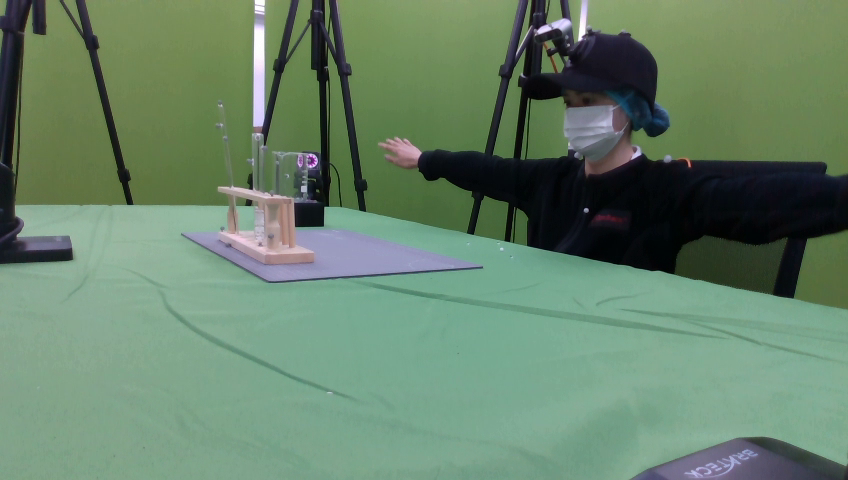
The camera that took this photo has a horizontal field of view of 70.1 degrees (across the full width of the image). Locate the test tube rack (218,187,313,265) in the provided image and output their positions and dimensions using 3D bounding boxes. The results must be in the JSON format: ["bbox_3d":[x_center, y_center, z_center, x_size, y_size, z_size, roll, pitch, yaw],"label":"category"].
[{"bbox_3d":[-0.235,-0.027,0.872,0.067,0.085,0.241,-2,8,-32],"label":"test tube rack"}]

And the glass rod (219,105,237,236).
[{"bbox_3d":[-0.294,-0.100,0.907,0.008,0.199,0.008,-3,12,1],"label":"glass rod"}]

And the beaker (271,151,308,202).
[{"bbox_3d":[-0.277,-0.129,1.237,0.074,0.100,0.084,4,9,10],"label":"beaker"}]

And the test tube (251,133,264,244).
[{"bbox_3d":[-0.227,-0.070,0.825,0.017,0.150,0.017,0,3,0],"label":"test tube"}]
